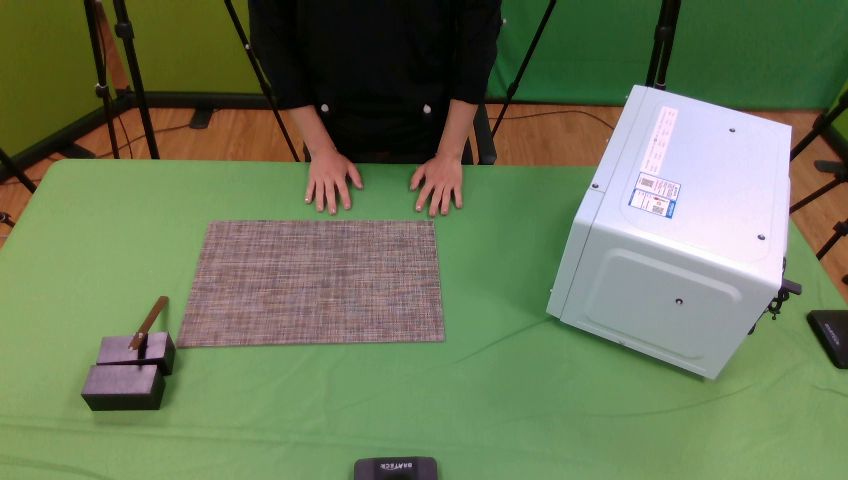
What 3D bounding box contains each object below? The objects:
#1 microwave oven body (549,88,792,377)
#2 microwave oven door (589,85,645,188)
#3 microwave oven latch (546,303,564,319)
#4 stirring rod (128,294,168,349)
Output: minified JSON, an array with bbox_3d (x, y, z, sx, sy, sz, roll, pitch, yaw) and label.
[{"bbox_3d":[0.456,-0.028,1.088,0.325,0.261,0.440,20,47,16],"label":"microwave oven body"},{"bbox_3d":[0.342,-0.107,1.149,0.039,0.245,0.354,20,48,15],"label":"microwave oven door"},{"bbox_3d":[0.242,0.102,1.081,0.030,0.029,0.079,21,48,17],"label":"microwave oven latch"},{"bbox_3d":[-0.451,0.131,0.996,0.014,0.006,0.175,9,21,-10],"label":"stirring rod"}]
